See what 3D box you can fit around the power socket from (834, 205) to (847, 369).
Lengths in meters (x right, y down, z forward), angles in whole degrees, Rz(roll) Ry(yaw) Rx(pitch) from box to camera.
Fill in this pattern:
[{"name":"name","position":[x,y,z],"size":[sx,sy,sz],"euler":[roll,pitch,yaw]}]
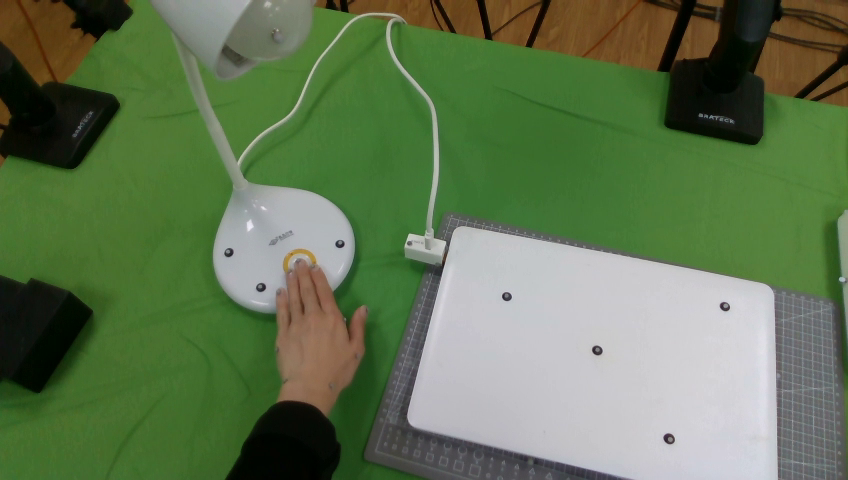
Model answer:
[{"name":"power socket","position":[0.493,0.054,0.655],"size":[0.072,0.033,0.225],"euler":[13,61,7]}]

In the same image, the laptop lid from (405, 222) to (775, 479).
[{"name":"laptop lid","position":[0.175,0.111,0.622],"size":[0.356,0.013,0.240],"euler":[12,64,8]}]

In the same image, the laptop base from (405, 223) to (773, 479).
[{"name":"laptop base","position":[0.176,0.115,0.634],"size":[0.354,0.023,0.234],"euler":[11,65,7]}]

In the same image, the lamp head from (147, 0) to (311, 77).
[{"name":"lamp head","position":[-0.131,-0.176,0.362],"size":[0.123,0.112,0.112],"euler":[40,67,-4]}]

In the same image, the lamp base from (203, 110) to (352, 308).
[{"name":"lamp base","position":[-0.174,-0.041,0.634],"size":[0.178,0.182,0.160],"euler":[39,68,23]}]

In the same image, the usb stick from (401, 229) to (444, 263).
[{"name":"usb stick","position":[0.005,0.008,0.682],"size":[0.059,0.027,0.021],"euler":[15,57,6]}]
